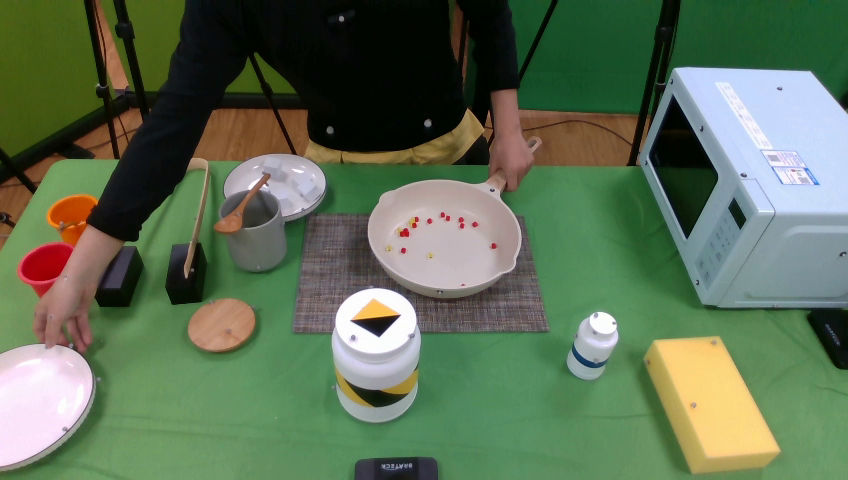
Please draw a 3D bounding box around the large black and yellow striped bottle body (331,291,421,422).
[{"bbox_3d":[-0.071,0.175,0.911,0.131,0.185,0.130,2,47,-2],"label":"large black and yellow striped bottle body"}]

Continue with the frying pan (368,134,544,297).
[{"bbox_3d":[0.104,-0.069,1.205,0.305,0.103,0.487,32,61,23],"label":"frying pan"}]

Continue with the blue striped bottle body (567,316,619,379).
[{"bbox_3d":[0.276,0.168,0.984,0.063,0.121,0.062,2,46,-2],"label":"blue striped bottle body"}]

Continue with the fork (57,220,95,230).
[{"bbox_3d":[-0.624,-0.027,1.086,0.028,0.207,0.018,-3,92,-16],"label":"fork"}]

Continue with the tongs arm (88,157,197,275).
[{"bbox_3d":[-0.530,-0.061,1.161,0.028,0.028,0.385,3,35,6],"label":"tongs arm"}]

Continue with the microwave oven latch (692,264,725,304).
[{"bbox_3d":[0.522,0.081,1.116,0.030,0.029,0.078,1,46,-2],"label":"microwave oven latch"}]

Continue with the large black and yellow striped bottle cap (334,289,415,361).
[{"bbox_3d":[-0.069,0.117,0.850,0.115,0.019,0.114,2,45,-2],"label":"large black and yellow striped bottle cap"}]

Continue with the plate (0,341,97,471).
[{"bbox_3d":[-0.599,0.247,0.904,0.209,0.038,0.208,2,47,-2],"label":"plate"}]

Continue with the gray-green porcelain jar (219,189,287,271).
[{"bbox_3d":[-0.309,-0.014,1.114,0.106,0.127,0.105,2,46,-2],"label":"gray-green porcelain jar"}]

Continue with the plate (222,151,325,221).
[{"bbox_3d":[-0.310,-0.106,1.262,0.208,0.039,0.206,2,46,-2],"label":"plate"}]

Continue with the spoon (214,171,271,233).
[{"bbox_3d":[-0.312,-0.071,1.070,0.041,0.022,0.193,11,43,9],"label":"spoon"}]

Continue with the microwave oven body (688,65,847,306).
[{"bbox_3d":[0.669,-0.111,1.176,0.326,0.261,0.439,0,46,-3],"label":"microwave oven body"}]

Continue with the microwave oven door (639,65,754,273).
[{"bbox_3d":[0.522,-0.147,1.193,0.039,0.245,0.353,1,47,-3],"label":"microwave oven door"}]

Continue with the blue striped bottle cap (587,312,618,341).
[{"bbox_3d":[0.279,0.134,0.947,0.044,0.021,0.044,2,45,-2],"label":"blue striped bottle cap"}]

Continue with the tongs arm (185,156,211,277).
[{"bbox_3d":[-0.446,-0.058,1.168,0.051,0.026,0.382,-3,37,-7],"label":"tongs arm"}]

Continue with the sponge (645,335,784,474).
[{"bbox_3d":[0.449,0.253,0.956,0.118,0.061,0.205,-4,46,-7],"label":"sponge"}]

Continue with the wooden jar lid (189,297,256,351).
[{"bbox_3d":[-0.342,0.145,1.033,0.108,0.021,0.107,2,45,-2],"label":"wooden jar lid"}]
